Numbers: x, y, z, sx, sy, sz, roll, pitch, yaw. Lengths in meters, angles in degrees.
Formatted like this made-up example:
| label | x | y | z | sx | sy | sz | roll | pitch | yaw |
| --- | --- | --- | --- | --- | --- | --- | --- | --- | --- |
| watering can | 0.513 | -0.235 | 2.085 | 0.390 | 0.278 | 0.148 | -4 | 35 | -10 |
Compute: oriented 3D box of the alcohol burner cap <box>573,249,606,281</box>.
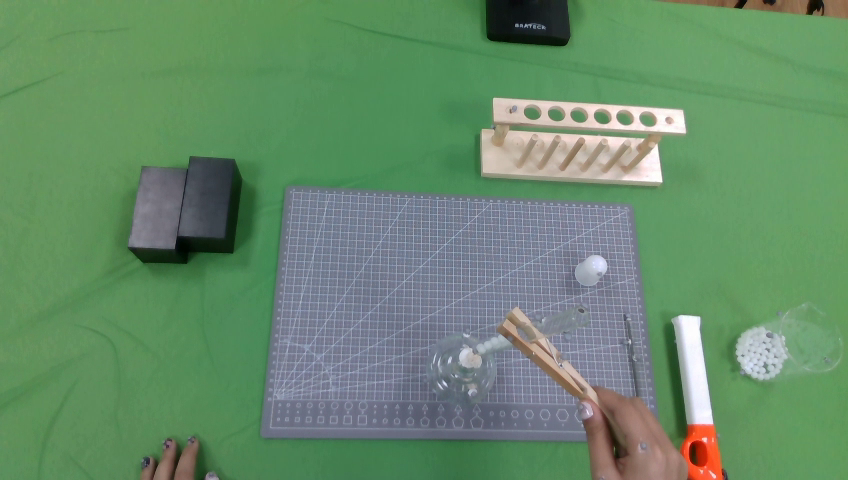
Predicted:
| label | x | y | z | sx | sy | sz | roll | pitch | yaw |
| --- | --- | --- | --- | --- | --- | --- | --- | --- | --- |
| alcohol burner cap | 0.205 | 0.028 | 0.742 | 0.034 | 0.048 | 0.033 | 2 | 70 | -6 |

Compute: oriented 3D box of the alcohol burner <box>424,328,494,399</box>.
| label | x | y | z | sx | sy | sz | roll | pitch | yaw |
| --- | --- | --- | --- | --- | --- | --- | --- | --- | --- |
| alcohol burner | 0.040 | 0.128 | 0.648 | 0.078 | 0.120 | 0.077 | 2 | 68 | -5 |

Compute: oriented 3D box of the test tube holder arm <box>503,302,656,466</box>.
| label | x | y | z | sx | sy | sz | roll | pitch | yaw |
| --- | --- | --- | --- | --- | --- | --- | --- | --- | --- |
| test tube holder arm | 0.131 | 0.121 | 0.508 | 0.178 | 0.015 | 0.013 | 46 | 61 | 0 |

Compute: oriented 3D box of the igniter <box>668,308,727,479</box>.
| label | x | y | z | sx | sy | sz | roll | pitch | yaw |
| --- | --- | --- | --- | --- | --- | --- | --- | --- | --- |
| igniter | 0.315 | 0.215 | 0.699 | 0.057 | 0.025 | 0.274 | 6 | 70 | -15 |

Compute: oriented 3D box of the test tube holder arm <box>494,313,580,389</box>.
| label | x | y | z | sx | sy | sz | roll | pitch | yaw |
| --- | --- | --- | --- | --- | --- | --- | --- | --- | --- |
| test tube holder arm | 0.095 | 0.093 | 0.504 | 0.088 | 0.015 | 0.010 | 40 | 61 | -4 |

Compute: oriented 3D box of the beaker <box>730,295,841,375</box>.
| label | x | y | z | sx | sy | sz | roll | pitch | yaw |
| --- | --- | --- | --- | --- | --- | --- | --- | --- | --- |
| beaker | 0.416 | 0.115 | 0.709 | 0.074 | 0.101 | 0.083 | 15 | 68 | -1 |

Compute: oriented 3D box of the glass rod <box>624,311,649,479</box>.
| label | x | y | z | sx | sy | sz | roll | pitch | yaw |
| --- | --- | --- | --- | --- | --- | --- | --- | --- | --- |
| glass rod | 0.248 | 0.181 | 0.710 | 0.008 | 0.008 | 0.198 | 2 | 70 | -6 |

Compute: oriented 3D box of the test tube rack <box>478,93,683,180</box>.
| label | x | y | z | sx | sy | sz | roll | pitch | yaw |
| --- | --- | --- | --- | --- | --- | --- | --- | --- | --- |
| test tube rack | 0.197 | -0.130 | 0.777 | 0.243 | 0.085 | 0.066 | 2 | 70 | -6 |

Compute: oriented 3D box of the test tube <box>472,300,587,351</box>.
| label | x | y | z | sx | sy | sz | roll | pitch | yaw |
| --- | --- | --- | --- | --- | --- | --- | --- | --- | --- |
| test tube | 0.081 | 0.074 | 0.505 | 0.017 | 0.150 | 0.017 | 10 | 68 | -24 |
